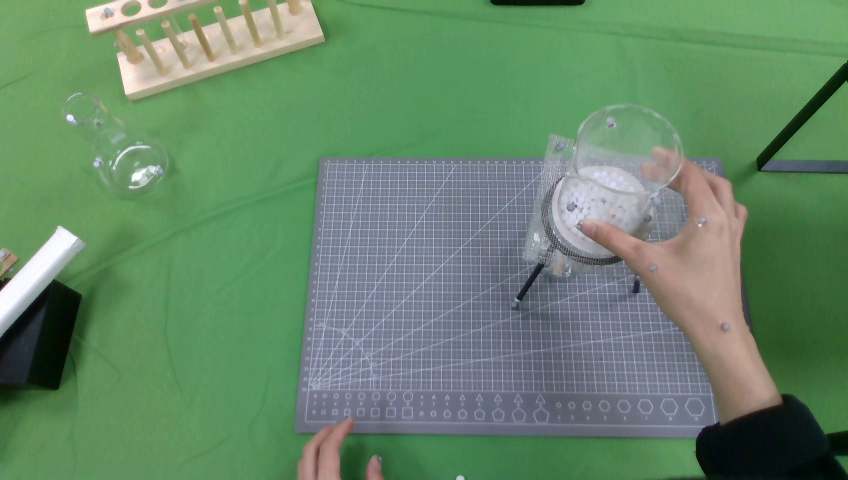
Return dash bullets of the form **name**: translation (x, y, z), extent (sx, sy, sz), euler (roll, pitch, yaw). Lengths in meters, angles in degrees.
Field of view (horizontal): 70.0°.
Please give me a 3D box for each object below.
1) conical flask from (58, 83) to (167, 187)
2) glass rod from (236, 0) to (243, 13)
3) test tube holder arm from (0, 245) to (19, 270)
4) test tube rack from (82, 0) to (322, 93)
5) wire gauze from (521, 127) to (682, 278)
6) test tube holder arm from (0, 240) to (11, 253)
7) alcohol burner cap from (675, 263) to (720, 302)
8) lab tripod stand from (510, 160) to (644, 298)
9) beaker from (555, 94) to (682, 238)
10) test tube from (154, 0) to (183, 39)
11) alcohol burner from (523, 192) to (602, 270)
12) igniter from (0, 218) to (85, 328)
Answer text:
- **conical flask**: translation (-0.329, -0.112, 0.632), extent (0.075, 0.122, 0.075), euler (0, 68, 1)
- **glass rod**: translation (-0.228, -0.314, 0.655), extent (0.008, 0.201, 0.008), euler (-3, 62, 6)
- **test tube holder arm**: translation (-0.426, 0.041, 0.578), extent (0.010, 0.015, 0.087), euler (43, 74, -15)
- **test tube rack**: translation (-0.250, -0.257, 0.705), extent (0.242, 0.086, 0.066), euler (-19, 70, -6)
- **wire gauze**: translation (0.153, -0.034, 0.513), extent (0.121, 0.011, 0.124), euler (13, 68, 6)
- **test tube holder arm**: translation (-0.457, 0.071, 0.565), extent (0.013, 0.015, 0.178), euler (43, 74, -16)
- **alcohol burner cap**: translation (0.275, 0.040, 0.603), extent (0.034, 0.048, 0.033), euler (0, 69, 1)
- **lab tripod stand**: translation (0.148, -0.005, 0.574), extent (0.148, 0.132, 0.147), euler (0, 68, 0)
- **beaker**: translation (0.140, -0.049, 0.466), extent (0.084, 0.101, 0.073), euler (-22, 67, -7)
- **test tube**: translation (-0.295, -0.279, 0.661), extent (0.017, 0.151, 0.017), euler (0, 63, 0)
- **alcohol burner**: translation (0.138, -0.015, 0.588), extent (0.078, 0.120, 0.077), euler (0, 67, 0)
- **igniter**: translation (-0.423, 0.094, 0.556), extent (0.057, 0.025, 0.276), euler (28, 71, 21)
